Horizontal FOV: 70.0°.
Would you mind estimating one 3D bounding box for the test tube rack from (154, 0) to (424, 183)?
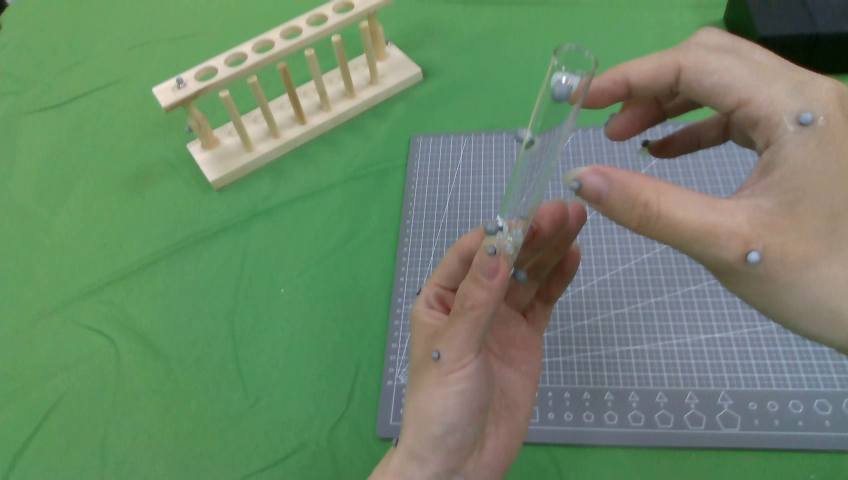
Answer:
[{"bbox_3d":[-0.123,-0.161,0.593,0.242,0.086,0.066,-32,56,-13],"label":"test tube rack"}]

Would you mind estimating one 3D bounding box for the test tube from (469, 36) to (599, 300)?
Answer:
[{"bbox_3d":[0.039,-0.017,0.251,0.017,0.151,0.017,5,53,-6],"label":"test tube"}]
